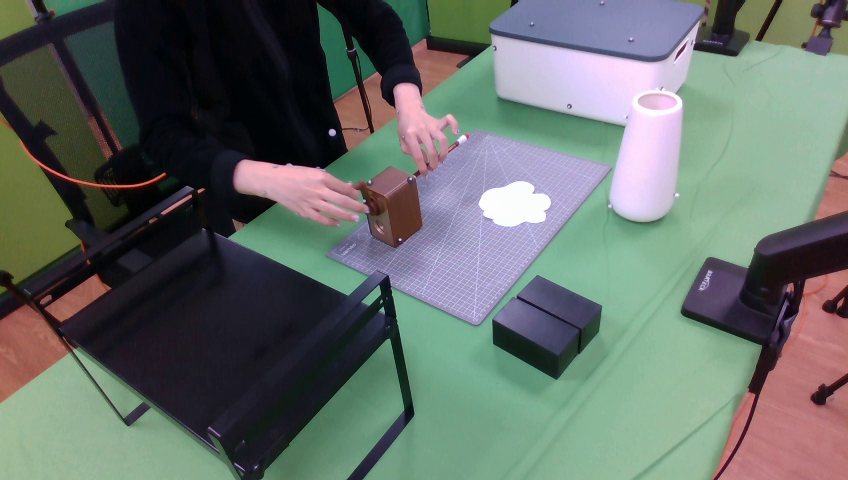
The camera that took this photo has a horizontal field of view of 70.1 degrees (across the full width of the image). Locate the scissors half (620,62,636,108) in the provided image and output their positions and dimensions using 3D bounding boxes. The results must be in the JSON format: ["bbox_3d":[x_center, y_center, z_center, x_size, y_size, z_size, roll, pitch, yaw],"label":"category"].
[{"bbox_3d":[0.434,-0.340,1.298,0.013,0.040,0.174,25,42,-11],"label":"scissors half"}]

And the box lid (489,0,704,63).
[{"bbox_3d":[0.345,-0.441,1.217,0.369,0.015,0.264,21,49,29],"label":"box lid"}]

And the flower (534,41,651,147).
[{"bbox_3d":[0.364,-0.319,1.318,0.038,0.044,0.359,-4,48,-50],"label":"flower"}]

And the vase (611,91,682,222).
[{"bbox_3d":[0.348,-0.125,0.935,0.098,0.201,0.097,-3,40,3],"label":"vase"}]

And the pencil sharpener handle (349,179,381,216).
[{"bbox_3d":[-0.093,-0.058,0.920,0.035,0.068,0.031,18,46,41],"label":"pencil sharpener handle"}]

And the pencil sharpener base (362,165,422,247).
[{"bbox_3d":[-0.052,-0.052,0.974,0.061,0.107,0.077,27,51,33],"label":"pencil sharpener base"}]

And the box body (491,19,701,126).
[{"bbox_3d":[0.352,-0.384,1.268,0.361,0.161,0.255,21,48,29],"label":"box body"}]

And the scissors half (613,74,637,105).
[{"bbox_3d":[0.427,-0.330,1.306,0.013,0.040,0.174,31,31,-14],"label":"scissors half"}]

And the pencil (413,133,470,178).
[{"bbox_3d":[0.015,-0.131,1.012,0.012,0.012,0.194,26,52,33],"label":"pencil"}]
